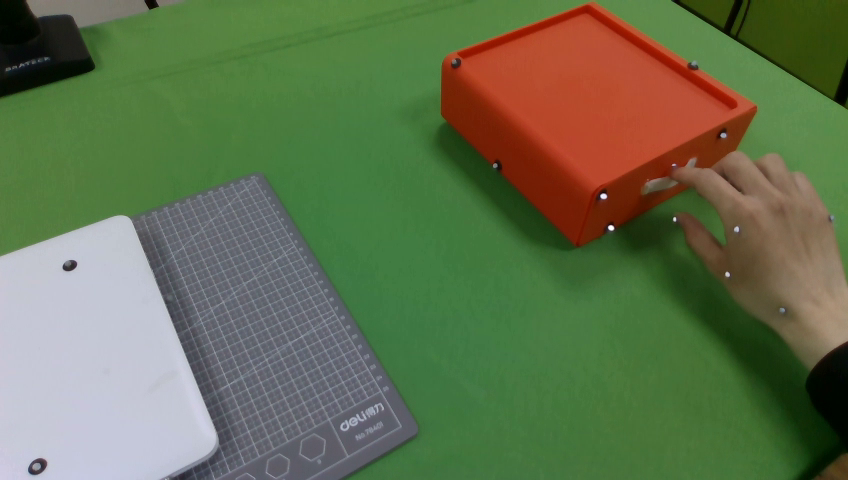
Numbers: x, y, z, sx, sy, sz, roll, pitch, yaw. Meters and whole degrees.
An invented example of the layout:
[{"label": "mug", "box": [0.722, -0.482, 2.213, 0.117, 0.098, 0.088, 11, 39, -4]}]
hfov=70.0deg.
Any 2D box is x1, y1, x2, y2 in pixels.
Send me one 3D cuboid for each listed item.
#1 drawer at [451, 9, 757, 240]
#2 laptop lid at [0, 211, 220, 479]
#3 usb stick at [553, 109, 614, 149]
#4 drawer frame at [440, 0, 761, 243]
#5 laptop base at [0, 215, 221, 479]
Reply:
[{"label": "drawer", "box": [0.158, -0.122, 0.575, 0.195, 0.074, 0.209, -27, 56, -20]}, {"label": "laptop lid", "box": [-0.339, 0.120, 0.389, 0.357, 0.013, 0.239, -23, 57, -19]}, {"label": "usb stick", "box": [0.157, -0.109, 0.588, 0.059, 0.027, 0.021, -12, 52, -10]}, {"label": "drawer frame", "box": [0.155, -0.123, 0.575, 0.202, 0.083, 0.211, -27, 55, -21]}, {"label": "laptop base", "box": [-0.340, 0.126, 0.400, 0.355, 0.023, 0.233, -24, 58, -20]}]
